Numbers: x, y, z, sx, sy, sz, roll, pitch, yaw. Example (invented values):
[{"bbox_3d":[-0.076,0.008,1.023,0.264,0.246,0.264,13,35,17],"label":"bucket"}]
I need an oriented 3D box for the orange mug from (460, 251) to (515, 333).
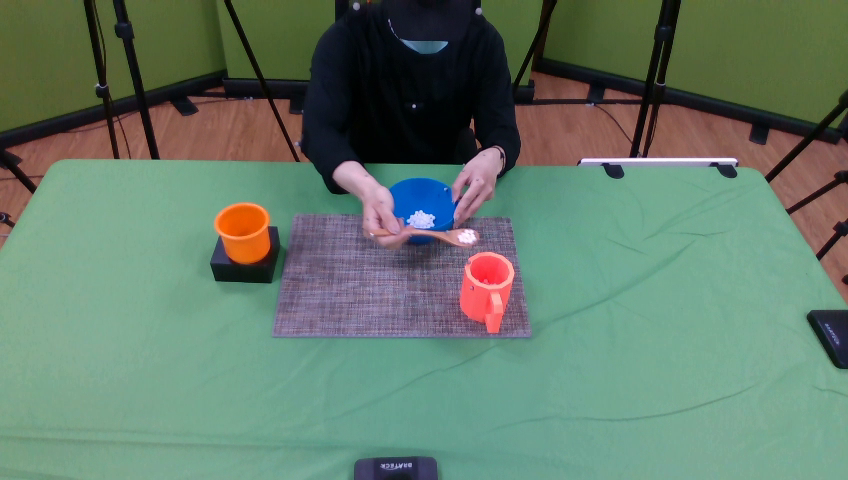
[{"bbox_3d":[0.114,0.095,1.053,0.083,0.101,0.125,-5,42,-8],"label":"orange mug"}]

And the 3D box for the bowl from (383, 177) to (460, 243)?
[{"bbox_3d":[-0.006,-0.047,1.197,0.151,0.077,0.150,2,46,-2],"label":"bowl"}]

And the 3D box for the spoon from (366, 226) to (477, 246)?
[{"bbox_3d":[-0.003,-0.013,1.010,0.194,0.022,0.041,5,55,-23],"label":"spoon"}]
